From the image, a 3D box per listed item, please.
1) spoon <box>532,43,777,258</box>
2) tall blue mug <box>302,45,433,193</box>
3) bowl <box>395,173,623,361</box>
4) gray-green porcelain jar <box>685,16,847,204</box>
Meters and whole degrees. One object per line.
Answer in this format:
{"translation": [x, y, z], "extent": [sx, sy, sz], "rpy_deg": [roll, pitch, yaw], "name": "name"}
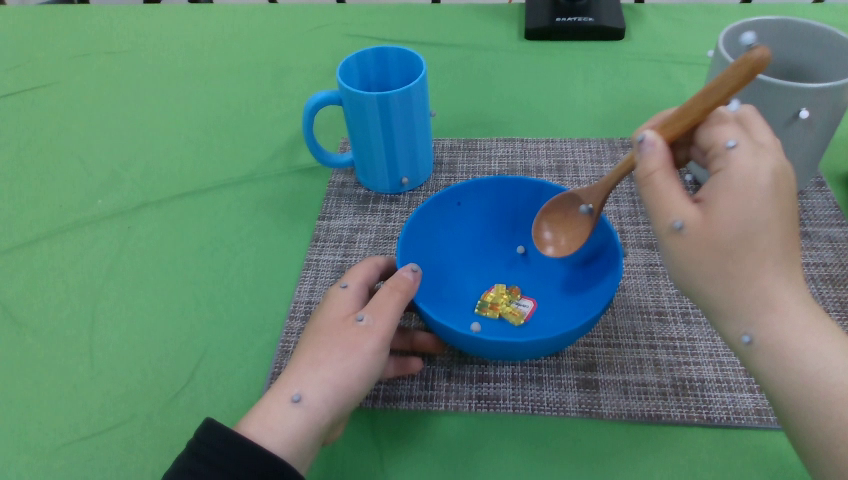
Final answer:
{"translation": [0.119, -0.041, 0.349], "extent": [0.022, 0.194, 0.041], "rpy_deg": [-8, 68, -25], "name": "spoon"}
{"translation": [-0.044, -0.100, 0.538], "extent": [0.107, 0.109, 0.077], "rpy_deg": [-32, 53, -23], "name": "tall blue mug"}
{"translation": [0.057, 0.031, 0.428], "extent": [0.151, 0.077, 0.150], "rpy_deg": [-2, 47, 3], "name": "bowl"}
{"translation": [0.281, -0.101, 0.502], "extent": [0.106, 0.128, 0.105], "rpy_deg": [-2, 47, 3], "name": "gray-green porcelain jar"}
